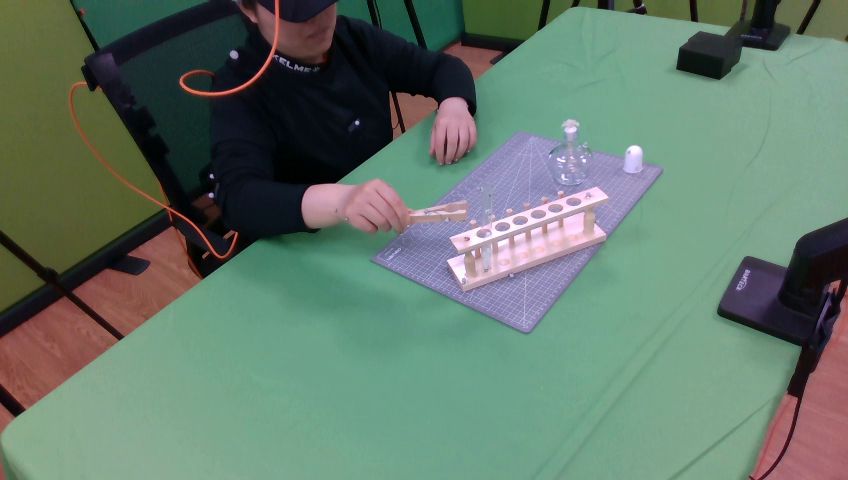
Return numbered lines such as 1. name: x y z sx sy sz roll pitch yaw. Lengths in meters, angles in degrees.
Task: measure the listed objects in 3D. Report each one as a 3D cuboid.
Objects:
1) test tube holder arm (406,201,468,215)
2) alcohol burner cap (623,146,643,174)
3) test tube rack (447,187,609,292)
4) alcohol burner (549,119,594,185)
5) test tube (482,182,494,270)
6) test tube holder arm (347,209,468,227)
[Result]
1. test tube holder arm: 0.018 -0.039 0.857 0.088 0.015 0.010 -12 33 2
2. alcohol burner cap: 0.369 -0.143 1.061 0.034 0.048 0.033 -7 41 6
3. test tube rack: 0.155 -0.011 0.913 0.243 0.085 0.066 -19 41 -11
4. alcohol burner: 0.254 -0.155 1.043 0.078 0.120 0.077 -7 40 6
5. test tube: 0.090 -0.016 0.854 0.017 0.151 0.017 -2 39 2
6. test tube holder arm: -0.026 -0.031 0.861 0.178 0.015 0.013 -4 33 15
